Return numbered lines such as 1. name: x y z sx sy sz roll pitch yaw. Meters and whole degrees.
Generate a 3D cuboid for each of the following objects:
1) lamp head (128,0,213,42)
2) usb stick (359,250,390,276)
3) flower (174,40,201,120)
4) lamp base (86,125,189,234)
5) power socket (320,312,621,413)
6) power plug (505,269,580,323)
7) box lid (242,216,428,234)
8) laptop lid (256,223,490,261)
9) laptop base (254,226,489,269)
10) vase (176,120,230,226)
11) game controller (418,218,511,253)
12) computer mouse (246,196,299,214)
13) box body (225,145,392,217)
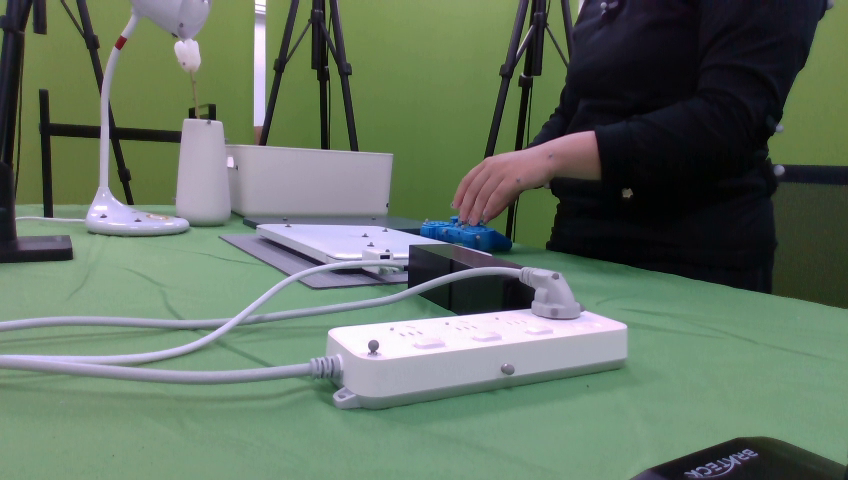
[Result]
1. lamp head: -0.423 -0.394 0.980 0.123 0.112 0.112 20 7 -3
2. usb stick: -0.061 0.026 0.709 0.021 0.027 0.059 -1 3 -30
3. flower: -0.430 -0.211 1.165 0.044 0.361 0.038 -10 -5 -23
4. lamp base: -0.497 -0.105 1.027 0.179 0.180 0.160 1 7 3
5. power socket: 0.038 0.075 0.409 0.228 0.032 0.072 -2 8 -29
6. power plug: 0.092 0.051 0.470 0.035 0.052 0.072 0 7 -16
7. box lid: -0.162 -0.030 1.233 0.373 0.015 0.262 -1 8 -32
8. laptop lid: -0.093 0.000 0.912 0.243 0.013 0.355 1 7 -30
9. laptop base: -0.095 0.011 0.912 0.237 0.023 0.352 3 6 -32
10. vase: -0.425 -0.128 1.159 0.098 0.200 0.098 2 9 0
11. game controller: 0.063 -0.009 1.030 0.154 0.051 0.097 9 14 41
12. computer mouse: -0.355 -0.083 1.418 0.117 0.041 0.063 0 10 7
13. box body: -0.289 -0.143 1.475 0.366 0.160 0.253 -1 9 -29
